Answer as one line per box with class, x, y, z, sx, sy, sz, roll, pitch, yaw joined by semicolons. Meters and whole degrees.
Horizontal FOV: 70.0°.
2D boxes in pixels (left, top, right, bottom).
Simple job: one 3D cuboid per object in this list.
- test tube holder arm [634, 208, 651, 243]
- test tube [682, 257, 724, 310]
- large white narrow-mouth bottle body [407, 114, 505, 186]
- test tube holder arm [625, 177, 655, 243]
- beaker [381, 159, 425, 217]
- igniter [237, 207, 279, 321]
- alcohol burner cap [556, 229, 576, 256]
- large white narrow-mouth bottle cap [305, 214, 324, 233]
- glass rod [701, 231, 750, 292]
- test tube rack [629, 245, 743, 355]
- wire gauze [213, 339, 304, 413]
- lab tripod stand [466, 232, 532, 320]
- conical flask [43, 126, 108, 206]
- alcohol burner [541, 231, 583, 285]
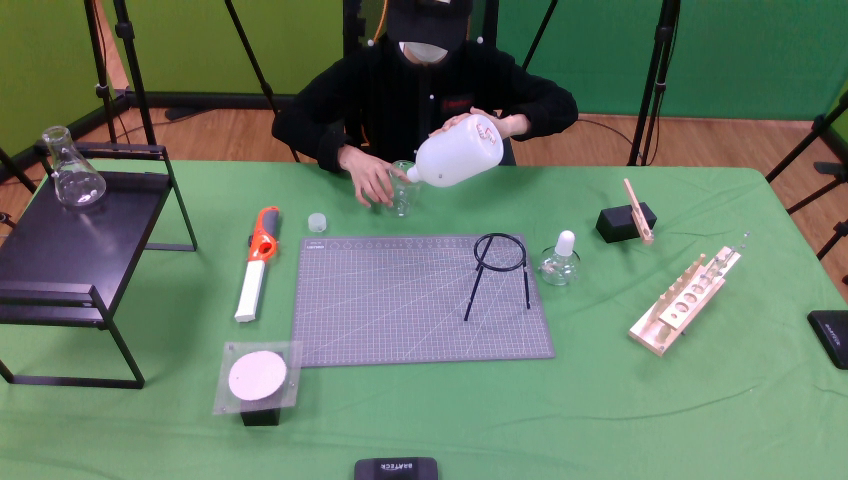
test tube holder arm;0.428;-0.030;1.189;0.010;0.015;0.087;1;47;-2
test tube;0.475;0.080;1.037;0.017;0.151;0.017;2;51;-2
large white narrow-mouth bottle body;0.048;-0.157;1.142;0.194;0.102;0.101;-20;34;35
test tube holder arm;0.433;-0.063;1.220;0.013;0.015;0.177;1;47;-3
beaker;-0.042;-0.102;1.232;0.084;0.100;0.073;3;51;-17
igniter;-0.309;0.035;1.136;0.057;0.025;0.274;-7;45;5
alcohol burner cap;0.260;0.002;1.098;0.034;0.048;0.033;3;40;-2
large white narrow-mouth bottle cap;-0.219;-0.033;1.214;0.038;0.024;0.037;2;46;-2
glass rod;0.519;0.045;1.050;0.008;0.201;0.008;0;55;0
test tube rack;0.474;0.095;1.091;0.242;0.085;0.066;-34;56;-31
wire gauze;-0.250;0.203;0.924;0.121;0.011;0.124;-1;46;-3
lab tripod stand;0.125;0.059;1.065;0.148;0.132;0.147;1;45;0
conical flask;-0.555;-0.119;0.953;0.075;0.122;0.075;2;46;-2
alcohol burner;0.258;0.028;1.123;0.078;0.120;0.077;1;48;-1
